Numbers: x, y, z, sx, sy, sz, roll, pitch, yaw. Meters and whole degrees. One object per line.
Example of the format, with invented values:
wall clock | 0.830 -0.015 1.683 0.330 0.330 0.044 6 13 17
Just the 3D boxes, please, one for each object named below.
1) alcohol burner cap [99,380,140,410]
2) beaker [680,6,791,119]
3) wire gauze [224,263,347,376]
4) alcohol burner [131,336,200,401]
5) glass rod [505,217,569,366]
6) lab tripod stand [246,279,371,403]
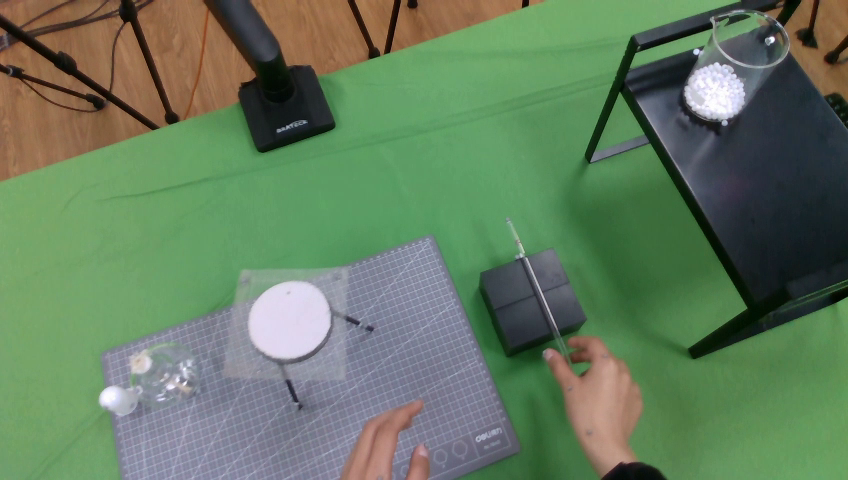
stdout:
alcohol burner cap | -0.367 0.184 0.727 0.034 0.048 0.033 -2 68 5
beaker | 0.318 -0.183 0.637 0.074 0.101 0.083 -41 71 -15
wire gauze | -0.143 0.082 0.641 0.125 0.011 0.120 1 68 1
alcohol burner | -0.307 0.145 0.702 0.078 0.120 0.077 0 66 0
glass rod | 0.136 0.059 0.735 0.008 0.008 0.198 -17 69 -5
lab tripod stand | -0.139 0.105 0.704 0.148 0.132 0.147 0 66 1
